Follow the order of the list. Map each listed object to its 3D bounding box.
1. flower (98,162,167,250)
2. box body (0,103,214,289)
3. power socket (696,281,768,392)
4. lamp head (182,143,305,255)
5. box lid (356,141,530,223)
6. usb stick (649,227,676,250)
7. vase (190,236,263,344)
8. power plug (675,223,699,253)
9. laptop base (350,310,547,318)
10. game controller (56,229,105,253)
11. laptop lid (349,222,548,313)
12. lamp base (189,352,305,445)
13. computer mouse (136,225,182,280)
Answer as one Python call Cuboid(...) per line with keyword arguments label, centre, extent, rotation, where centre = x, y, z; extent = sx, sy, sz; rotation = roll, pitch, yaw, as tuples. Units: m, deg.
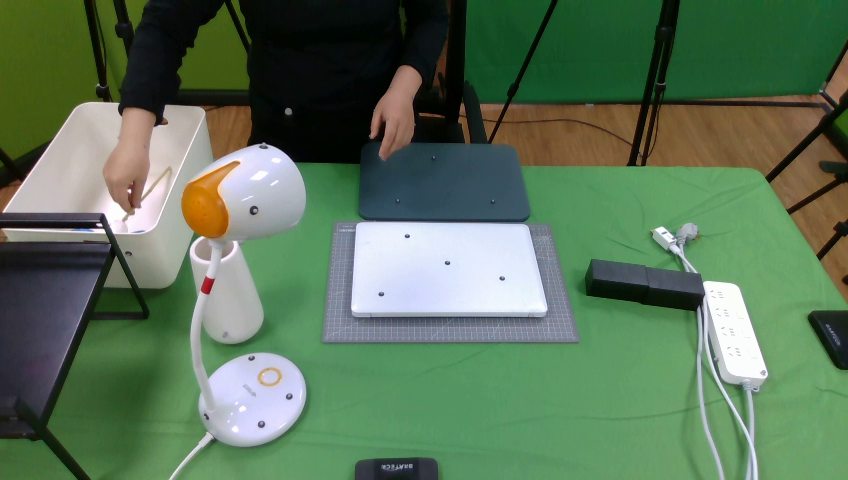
Cuboid(label="flower", centre=(-0.535, -0.080, 1.143), extent=(0.038, 0.044, 0.359), rotation=(31, 21, -20))
Cuboid(label="box body", centre=(-0.563, -0.087, 1.140), extent=(0.254, 0.161, 0.361), rotation=(2, 46, -3))
Cuboid(label="power socket", centre=(0.543, 0.161, 1.077), extent=(0.072, 0.033, 0.225), rotation=(5, 46, 2))
Cuboid(label="lamp head", centre=(-0.216, -0.044, 0.697), extent=(0.112, 0.113, 0.123), rotation=(23, 31, 17))
Cuboid(label="box lid", centre=(0.040, -0.132, 1.339), extent=(0.372, 0.015, 0.261), rotation=(0, 46, -4))
Cuboid(label="usb stick", centre=(0.485, -0.007, 1.238), extent=(0.021, 0.027, 0.059), rotation=(-23, 44, -13))
Cuboid(label="vase", centre=(-0.317, 0.081, 0.971), extent=(0.098, 0.201, 0.097), rotation=(3, 47, -3))
Cuboid(label="power plug", centre=(0.538, 0.000, 1.243), extent=(0.053, 0.035, 0.072), rotation=(18, 82, -17))
Cuboid(label="laptop base", centre=(0.041, 0.056, 1.149), extent=(0.355, 0.023, 0.234), rotation=(0, 42, -4))
Cuboid(label="game controller", centre=(-0.597, 0.010, 1.116), extent=(0.155, 0.052, 0.096), rotation=(2, 48, -1))
Cuboid(label="laptop lid", centre=(0.042, 0.046, 1.142), extent=(0.357, 0.013, 0.240), rotation=(2, 44, -3))
Cuboid(label="lamp base", centre=(-0.268, 0.196, 0.876), extent=(0.160, 0.181, 0.179), rotation=(25, 52, 20))
Cuboid(label="computer mouse", centre=(-0.488, 0.020, 1.117), extent=(0.063, 0.041, 0.116), rotation=(2, 55, -6))
